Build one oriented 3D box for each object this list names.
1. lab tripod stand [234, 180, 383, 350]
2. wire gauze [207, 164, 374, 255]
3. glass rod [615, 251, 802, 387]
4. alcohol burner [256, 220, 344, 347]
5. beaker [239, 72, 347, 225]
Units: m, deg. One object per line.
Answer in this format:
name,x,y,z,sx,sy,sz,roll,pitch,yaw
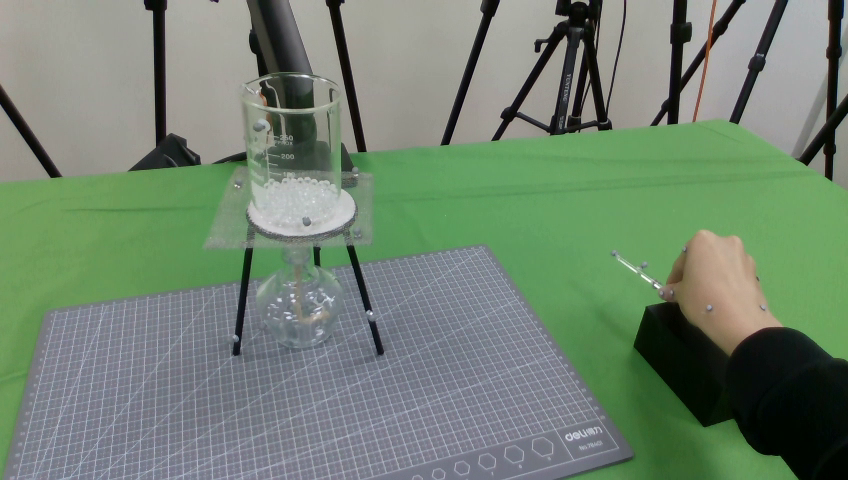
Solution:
lab tripod stand,-0.099,0.025,0.532,0.148,0.132,0.147,4,34,-2
wire gauze,-0.102,-0.028,0.494,0.121,0.011,0.124,0,37,-5
glass rod,0.243,0.063,0.539,0.008,0.008,0.197,-17,40,-26
alcohol burner,-0.110,0.035,0.535,0.078,0.120,0.077,2,33,-1
beaker,-0.101,-0.069,0.467,0.083,0.101,0.074,22,38,22
